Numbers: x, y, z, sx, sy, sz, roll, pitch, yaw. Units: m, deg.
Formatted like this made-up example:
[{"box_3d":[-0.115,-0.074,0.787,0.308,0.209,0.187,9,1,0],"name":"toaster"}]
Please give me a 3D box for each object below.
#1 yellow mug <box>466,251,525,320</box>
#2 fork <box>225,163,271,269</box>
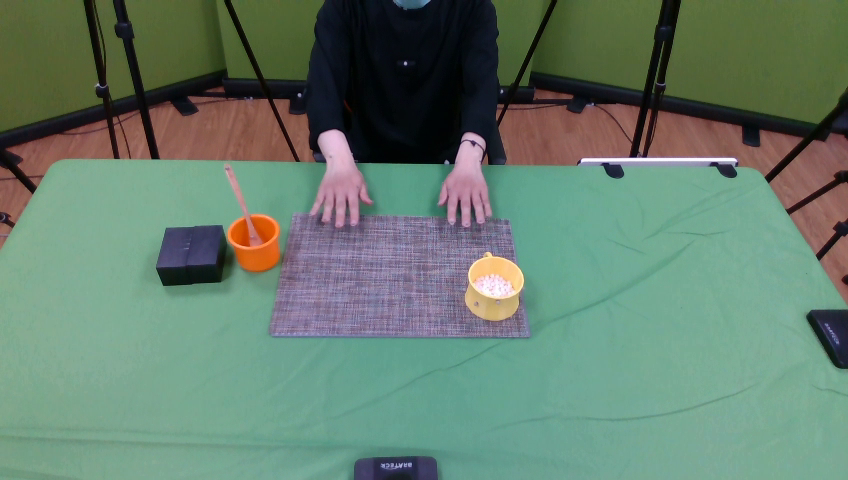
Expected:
[{"box_3d":[0.125,0.074,1.096,0.100,0.064,0.130,-4,45,-7],"name":"yellow mug"},{"box_3d":[-0.331,-0.045,1.128,0.028,0.018,0.207,-21,94,-23],"name":"fork"}]
